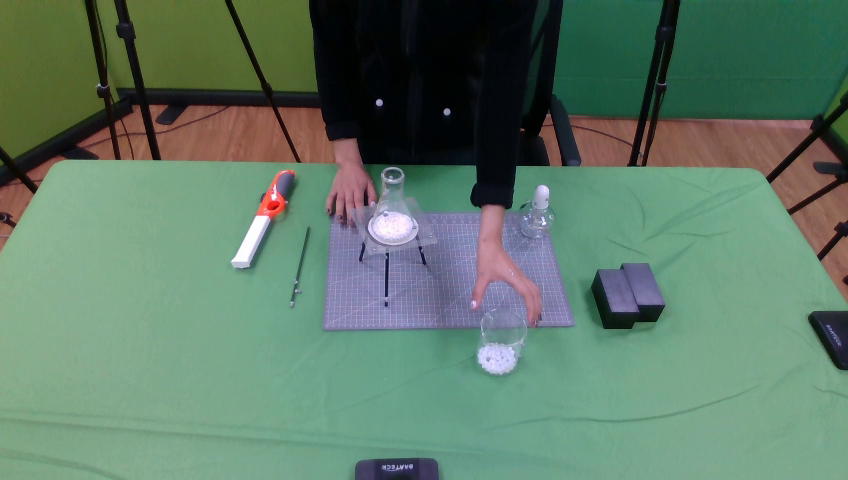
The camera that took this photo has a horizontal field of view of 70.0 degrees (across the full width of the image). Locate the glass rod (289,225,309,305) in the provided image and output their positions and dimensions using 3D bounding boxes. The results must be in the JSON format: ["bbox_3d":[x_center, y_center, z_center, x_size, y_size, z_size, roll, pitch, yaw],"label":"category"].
[{"bbox_3d":[-0.236,0.043,1.149,0.008,0.008,0.198,3,46,-1],"label":"glass rod"}]

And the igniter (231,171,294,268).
[{"bbox_3d":[-0.321,-0.051,1.220,0.057,0.025,0.275,2,45,12],"label":"igniter"}]

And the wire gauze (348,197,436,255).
[{"bbox_3d":[-0.056,-0.025,1.046,0.125,0.011,0.120,-13,46,-15],"label":"wire gauze"}]

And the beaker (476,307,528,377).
[{"bbox_3d":[0.122,0.171,0.991,0.084,0.101,0.073,-34,56,-30],"label":"beaker"}]

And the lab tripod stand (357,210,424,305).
[{"bbox_3d":[-0.061,0.020,1.094,0.148,0.132,0.147,3,44,-2],"label":"lab tripod stand"}]

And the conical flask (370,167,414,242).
[{"bbox_3d":[-0.053,-0.062,1.000,0.075,0.122,0.075,2,44,-2],"label":"conical flask"}]

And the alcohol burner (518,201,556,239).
[{"bbox_3d":[0.227,-0.061,1.210,0.078,0.120,0.077,1,45,-1],"label":"alcohol burner"}]

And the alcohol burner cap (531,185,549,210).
[{"bbox_3d":[0.228,-0.085,1.182,0.034,0.048,0.033,0,45,1],"label":"alcohol burner cap"}]
